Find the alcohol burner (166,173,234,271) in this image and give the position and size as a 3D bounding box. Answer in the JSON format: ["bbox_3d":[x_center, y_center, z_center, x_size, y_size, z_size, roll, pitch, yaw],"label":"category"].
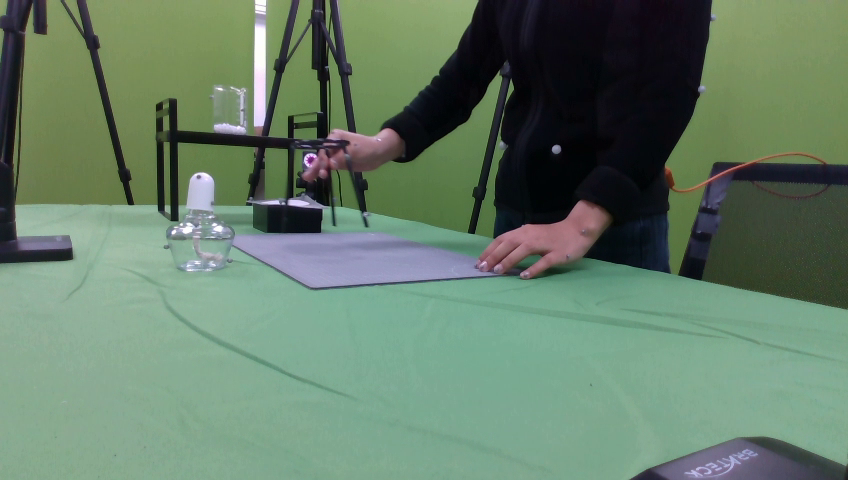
[{"bbox_3d":[-0.272,-0.023,0.735,0.078,0.119,0.078,2,5,0],"label":"alcohol burner"}]

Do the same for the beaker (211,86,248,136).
[{"bbox_3d":[-0.414,-0.274,1.297,0.074,0.100,0.083,-5,11,-44],"label":"beaker"}]

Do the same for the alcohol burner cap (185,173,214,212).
[{"bbox_3d":[-0.269,-0.057,0.730,0.034,0.048,0.034,5,2,0],"label":"alcohol burner cap"}]

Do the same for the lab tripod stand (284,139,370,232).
[{"bbox_3d":[-0.149,-0.082,0.915,0.148,0.131,0.148,-6,3,1],"label":"lab tripod stand"}]

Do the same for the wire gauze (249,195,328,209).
[{"bbox_3d":[-0.260,-0.071,1.138,0.126,0.011,0.121,-3,12,-28],"label":"wire gauze"}]
